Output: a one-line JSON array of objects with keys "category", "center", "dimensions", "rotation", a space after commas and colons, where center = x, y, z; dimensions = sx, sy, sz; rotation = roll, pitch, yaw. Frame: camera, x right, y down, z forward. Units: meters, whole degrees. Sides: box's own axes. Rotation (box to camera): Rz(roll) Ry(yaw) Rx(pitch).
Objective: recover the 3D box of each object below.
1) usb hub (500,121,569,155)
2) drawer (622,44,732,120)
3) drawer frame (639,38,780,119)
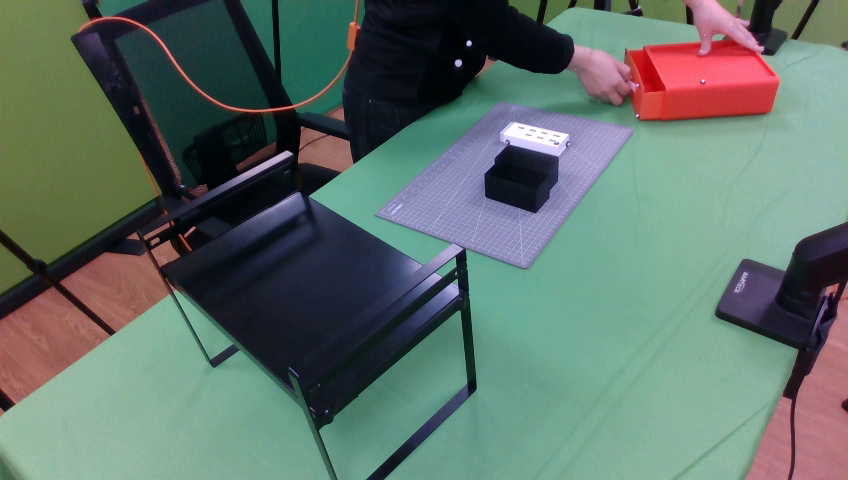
[{"category": "usb hub", "center": [0.213, -0.198, 1.166], "dimensions": [0.124, 0.025, 0.049], "rotation": [20, 48, 28]}, {"category": "drawer", "center": [0.525, -0.326, 1.231], "dimensions": [0.211, 0.073, 0.193], "rotation": [-2, 40, 6]}, {"category": "drawer frame", "center": [0.564, -0.329, 1.226], "dimensions": [0.213, 0.083, 0.200], "rotation": [-2, 41, 5]}]
